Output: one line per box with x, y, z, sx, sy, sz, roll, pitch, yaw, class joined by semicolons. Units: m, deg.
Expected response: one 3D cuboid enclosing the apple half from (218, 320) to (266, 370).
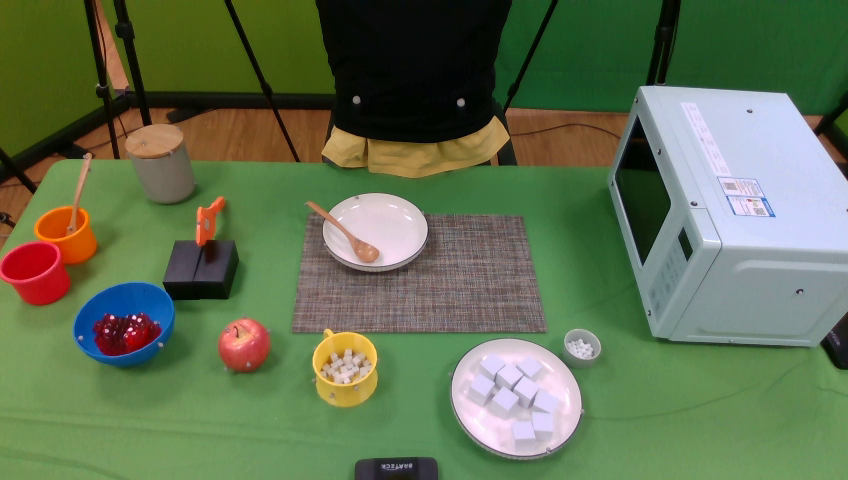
-0.298;0.176;0.971;0.080;0.075;0.053;35;57;22;apple half

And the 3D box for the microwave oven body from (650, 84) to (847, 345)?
0.568;-0.054;1.116;0.326;0.261;0.439;2;46;-1;microwave oven body

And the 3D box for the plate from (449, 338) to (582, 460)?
0.141;0.251;0.955;0.208;0.039;0.206;2;47;-2;plate

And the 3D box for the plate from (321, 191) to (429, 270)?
-0.094;-0.015;1.185;0.209;0.038;0.208;2;46;-2;plate

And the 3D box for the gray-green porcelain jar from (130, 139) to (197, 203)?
-0.522;-0.148;1.224;0.106;0.127;0.105;2;47;-2;gray-green porcelain jar

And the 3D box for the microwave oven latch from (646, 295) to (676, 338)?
0.412;0.133;1.060;0.030;0.029;0.078;4;46;1;microwave oven latch

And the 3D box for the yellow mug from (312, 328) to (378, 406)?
-0.132;0.193;0.971;0.100;0.064;0.130;-22;51;-22;yellow mug

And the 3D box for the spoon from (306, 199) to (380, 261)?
-0.160;-0.023;1.170;0.193;0.022;0.041;41;64;15;spoon

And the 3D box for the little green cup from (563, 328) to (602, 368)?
0.265;0.184;1.025;0.061;0.039;0.061;2;45;-2;little green cup

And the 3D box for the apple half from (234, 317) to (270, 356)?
-0.273;0.154;0.992;0.081;0.082;0.033;33;56;25;apple half

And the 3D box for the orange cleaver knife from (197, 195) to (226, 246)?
-0.404;-0.041;1.157;0.012;0.077;0.210;2;14;-7;orange cleaver knife

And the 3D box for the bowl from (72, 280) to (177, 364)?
-0.472;0.147;0.982;0.151;0.077;0.150;2;46;-2;bowl

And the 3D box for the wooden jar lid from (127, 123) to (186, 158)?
-0.519;-0.190;1.179;0.108;0.021;0.107;2;44;-2;wooden jar lid

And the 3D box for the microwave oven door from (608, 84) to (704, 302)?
0.424;-0.096;1.138;0.039;0.245;0.353;3;46;-1;microwave oven door

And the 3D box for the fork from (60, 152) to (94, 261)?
-0.638;-0.063;1.119;0.028;0.018;0.207;12;90;13;fork
